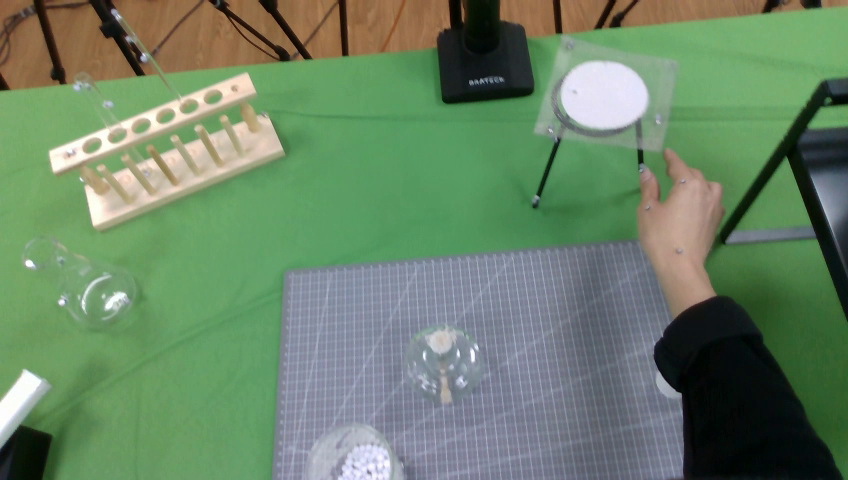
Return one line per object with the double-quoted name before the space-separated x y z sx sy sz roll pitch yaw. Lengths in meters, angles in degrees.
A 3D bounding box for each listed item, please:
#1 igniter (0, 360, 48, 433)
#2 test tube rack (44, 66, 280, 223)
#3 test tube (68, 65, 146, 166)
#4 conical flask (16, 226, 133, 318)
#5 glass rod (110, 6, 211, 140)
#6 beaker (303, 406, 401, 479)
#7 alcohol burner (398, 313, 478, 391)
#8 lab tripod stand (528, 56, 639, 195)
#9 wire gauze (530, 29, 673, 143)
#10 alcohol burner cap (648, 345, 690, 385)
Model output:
"igniter" -0.451 0.234 0.548 0.057 0.025 0.275 21 66 25
"test tube rack" -0.307 -0.114 0.728 0.242 0.086 0.066 -24 64 -7
"test tube" -0.355 -0.136 0.688 0.017 0.151 0.017 -2 57 3
"conical flask" -0.374 0.029 0.643 0.075 0.123 0.074 -2 63 4
"glass rod" -0.291 -0.178 0.684 0.008 0.202 0.008 -6 57 9
"beaker" -0.061 0.201 0.541 0.073 0.101 0.083 23 68 16
"alcohol burner" 0.013 0.101 0.576 0.078 0.120 0.077 -1 62 3
"lab tripod stand" 0.177 -0.122 0.665 0.148 0.132 0.147 -1 62 3
"wire gauze" 0.179 -0.155 0.605 0.121 0.011 0.124 15 67 10
"alcohol burner cap" 0.240 0.119 0.588 0.034 0.048 0.033 -2 63 4
